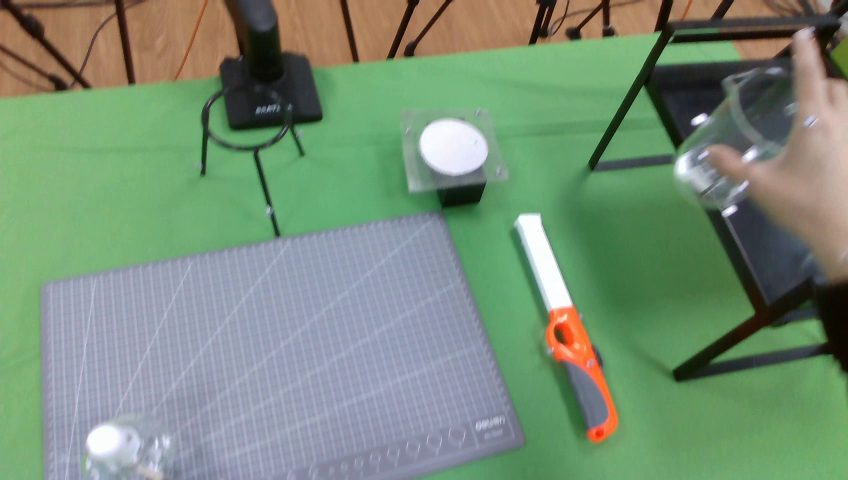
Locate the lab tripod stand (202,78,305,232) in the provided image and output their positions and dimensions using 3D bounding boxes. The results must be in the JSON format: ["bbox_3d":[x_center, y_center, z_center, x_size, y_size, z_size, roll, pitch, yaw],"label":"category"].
[{"bbox_3d":[-0.188,-0.100,0.685,0.149,0.132,0.147,4,61,-8],"label":"lab tripod stand"}]

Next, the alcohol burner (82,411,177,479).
[{"bbox_3d":[-0.259,0.182,0.524,0.078,0.120,0.077,5,58,-7],"label":"alcohol burner"}]

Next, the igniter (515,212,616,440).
[{"bbox_3d":[0.158,0.087,0.691,0.057,0.025,0.274,-3,61,-21],"label":"igniter"}]

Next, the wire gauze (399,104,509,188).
[{"bbox_3d":[0.034,-0.120,0.743,0.122,0.011,0.124,-4,61,-10],"label":"wire gauze"}]

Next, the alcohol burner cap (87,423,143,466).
[{"bbox_3d":[-0.254,0.165,0.492,0.034,0.048,0.033,2,66,-5],"label":"alcohol burner cap"}]

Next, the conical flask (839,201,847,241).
[{"bbox_3d":[0.444,-0.036,0.538,0.075,0.122,0.074,4,60,-6],"label":"conical flask"}]

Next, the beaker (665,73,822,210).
[{"bbox_3d":[0.246,-0.075,0.488,0.083,0.101,0.074,38,67,9],"label":"beaker"}]
